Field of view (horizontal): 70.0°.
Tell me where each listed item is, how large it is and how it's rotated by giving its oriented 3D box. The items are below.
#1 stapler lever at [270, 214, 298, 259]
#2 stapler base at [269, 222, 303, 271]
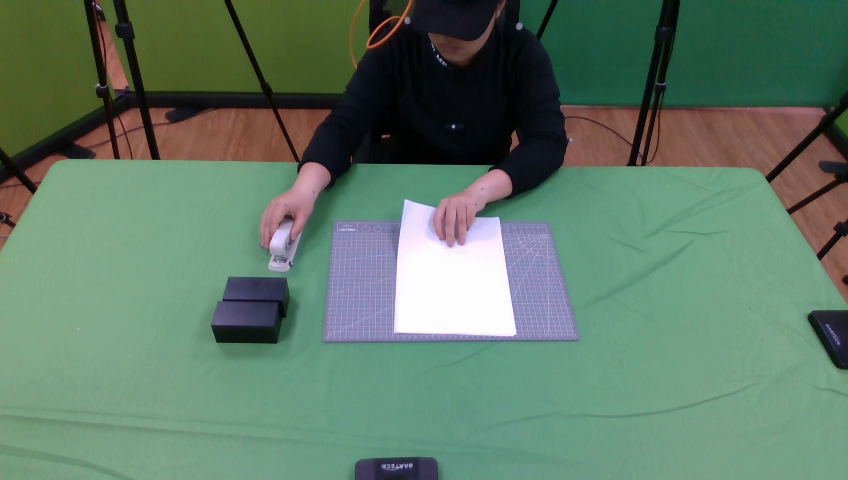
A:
[{"bbox_3d":[-0.266,-0.014,1.154,0.027,0.040,0.117,7,44,0],"label":"stapler lever"},{"bbox_3d":[-0.267,0.005,1.171,0.041,0.024,0.130,7,44,0],"label":"stapler base"}]
